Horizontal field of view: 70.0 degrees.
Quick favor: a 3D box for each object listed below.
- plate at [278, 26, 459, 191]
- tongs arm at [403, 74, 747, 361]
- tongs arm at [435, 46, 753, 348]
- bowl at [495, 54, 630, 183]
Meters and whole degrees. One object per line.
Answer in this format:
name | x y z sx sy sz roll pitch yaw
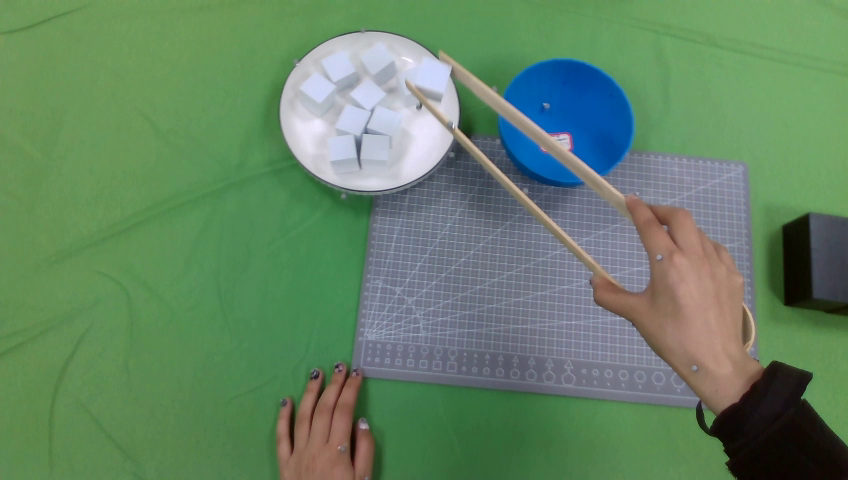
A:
plate | -0.064 -0.151 0.710 0.208 0.039 0.206 1 74 -2
tongs arm | 0.117 -0.036 0.539 0.051 0.027 0.382 -39 71 -5
tongs arm | 0.137 -0.055 0.542 0.028 0.028 0.385 -40 71 -10
bowl | 0.150 -0.126 0.696 0.151 0.077 0.150 1 74 -4
